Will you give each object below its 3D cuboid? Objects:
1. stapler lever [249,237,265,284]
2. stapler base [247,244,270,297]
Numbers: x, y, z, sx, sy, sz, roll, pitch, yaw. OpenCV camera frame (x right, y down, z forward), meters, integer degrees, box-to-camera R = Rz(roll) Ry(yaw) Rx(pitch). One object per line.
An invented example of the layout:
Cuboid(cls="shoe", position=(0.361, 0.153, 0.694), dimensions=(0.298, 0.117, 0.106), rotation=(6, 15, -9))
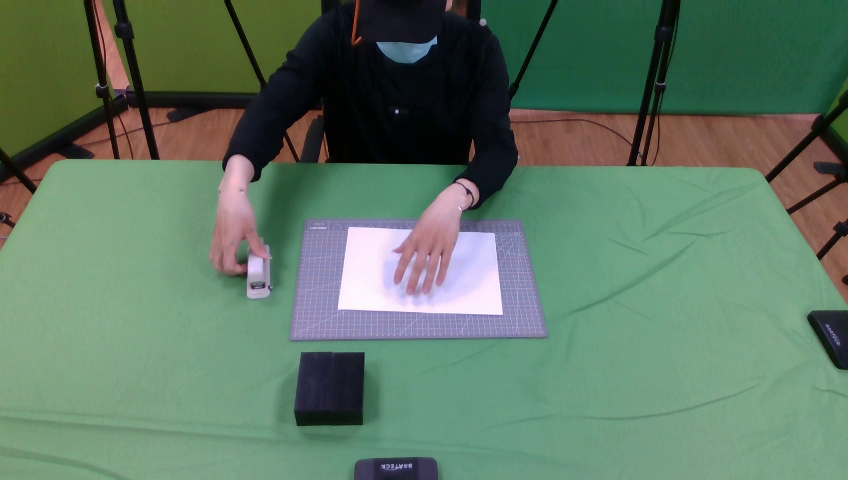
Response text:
Cuboid(cls="stapler lever", position=(-0.305, 0.030, 1.106), dimensions=(0.027, 0.040, 0.117), rotation=(-2, 44, -14))
Cuboid(cls="stapler base", position=(-0.307, 0.049, 1.122), dimensions=(0.041, 0.024, 0.129), rotation=(-2, 44, -14))
